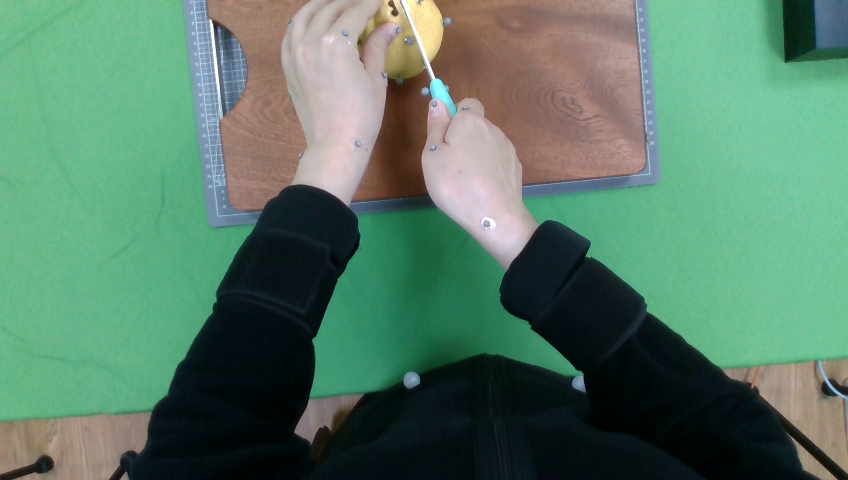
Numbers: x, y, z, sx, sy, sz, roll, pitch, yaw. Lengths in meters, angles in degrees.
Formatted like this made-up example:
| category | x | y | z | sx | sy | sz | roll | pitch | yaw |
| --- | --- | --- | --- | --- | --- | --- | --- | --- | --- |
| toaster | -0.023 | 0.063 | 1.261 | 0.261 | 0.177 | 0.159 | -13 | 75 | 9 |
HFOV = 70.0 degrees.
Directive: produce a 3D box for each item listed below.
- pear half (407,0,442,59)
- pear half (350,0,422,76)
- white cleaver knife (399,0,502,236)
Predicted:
| category | x | y | z | sx | sy | sz | roll | pitch | yaw |
| --- | --- | --- | --- | --- | --- | --- | --- | --- | --- |
| pear half | -0.002 | -0.195 | 0.526 | 0.031 | 0.088 | 0.070 | -28 | 87 | -1 |
| pear half | -0.036 | -0.179 | 0.517 | 0.056 | 0.110 | 0.076 | -26 | 87 | 1 |
| white cleaver knife | 0.007 | -0.139 | 0.497 | 0.021 | 0.066 | 0.286 | -20 | 90 | 5 |
